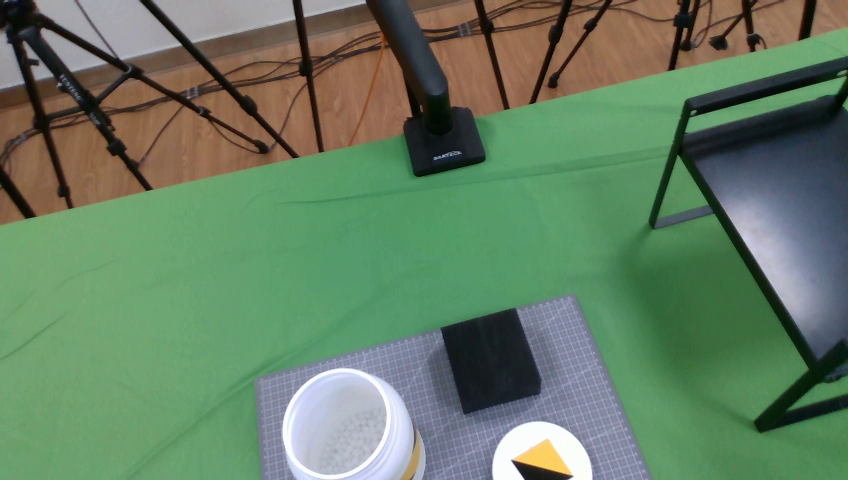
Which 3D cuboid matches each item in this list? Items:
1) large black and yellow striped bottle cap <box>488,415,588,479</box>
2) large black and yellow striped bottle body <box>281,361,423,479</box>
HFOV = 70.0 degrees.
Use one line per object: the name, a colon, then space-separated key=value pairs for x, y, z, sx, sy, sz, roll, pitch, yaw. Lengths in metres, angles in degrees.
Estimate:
large black and yellow striped bottle cap: x=0.132 y=0.263 z=0.708 sx=0.115 sy=0.019 sz=0.114 roll=-3 pitch=57 yaw=5
large black and yellow striped bottle body: x=-0.076 y=0.216 z=0.666 sx=0.130 sy=0.186 sz=0.129 roll=-3 pitch=58 yaw=6
